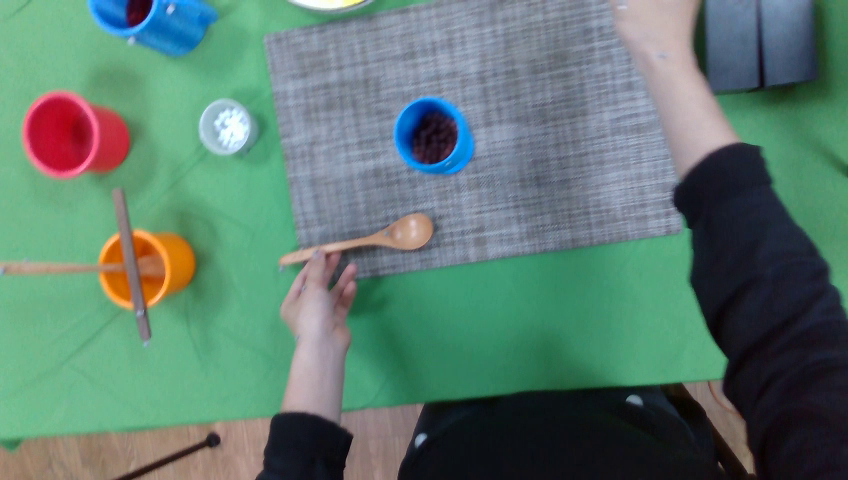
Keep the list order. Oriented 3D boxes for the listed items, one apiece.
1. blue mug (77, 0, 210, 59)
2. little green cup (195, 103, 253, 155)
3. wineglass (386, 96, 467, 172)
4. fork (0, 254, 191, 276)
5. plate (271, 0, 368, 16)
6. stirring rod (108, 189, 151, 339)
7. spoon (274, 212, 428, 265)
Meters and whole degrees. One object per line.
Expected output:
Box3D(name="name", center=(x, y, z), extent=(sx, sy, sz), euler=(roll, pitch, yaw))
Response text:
Box3D(name="blue mug", center=(-0.305, -0.256, 0.686), extent=(0.116, 0.106, 0.082), euler=(5, 96, 6))
Box3D(name="little green cup", center=(-0.237, -0.131, 0.726), extent=(0.061, 0.038, 0.061), euler=(1, 97, 8))
Box3D(name="wineglass", center=(0.008, -0.105, 0.627), extent=(0.073, 0.172, 0.074), euler=(1, 95, 8))
Box3D(name="fork", center=(-0.381, 0.032, 0.706), extent=(0.208, 0.018, 0.028), euler=(0, 105, -36))
Box3D(name="plate", center=(-0.115, -0.359, 0.686), extent=(0.209, 0.038, 0.209), euler=(1, 97, 7))
Box3D(name="stirring rod", center=(-0.339, 0.029, 0.697), extent=(0.014, 0.006, 0.176), euler=(-9, 95, 8))
Box3D(name="spoon", center=(-0.089, 0.002, 0.723), extent=(0.194, 0.022, 0.041), euler=(-12, 84, 4))
